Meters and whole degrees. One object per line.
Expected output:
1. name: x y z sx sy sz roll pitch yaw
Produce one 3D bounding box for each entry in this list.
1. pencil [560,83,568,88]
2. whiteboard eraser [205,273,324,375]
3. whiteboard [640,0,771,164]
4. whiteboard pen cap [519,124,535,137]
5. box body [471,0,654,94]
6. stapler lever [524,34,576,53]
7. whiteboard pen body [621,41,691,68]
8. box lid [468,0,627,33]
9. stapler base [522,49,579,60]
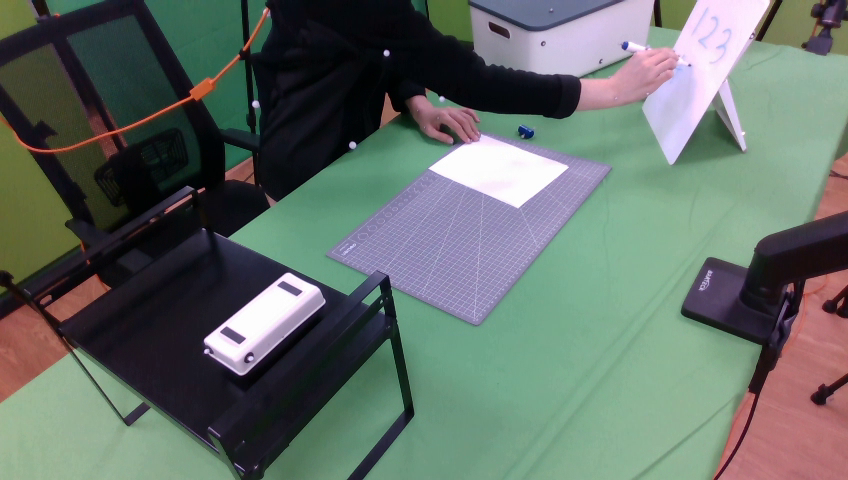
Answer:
1. pencil: 0.248 -0.394 1.398 0.193 0.012 0.012 33 53 23
2. whiteboard eraser: -0.157 0.084 0.605 0.055 0.042 0.113 24 49 30
3. whiteboard: 0.543 -0.299 1.076 0.144 0.305 0.216 12 40 -7
4. whiteboard pen cap: 0.206 -0.218 1.204 0.018 0.018 0.033 -27 45 -22
5. box body: 0.319 -0.498 1.405 0.365 0.161 0.252 -26 43 -21
6. stapler lever: 0.297 -0.462 1.424 0.117 0.040 0.027 5 24 17
7. whiteboard pen body: 0.410 -0.322 1.060 0.141 0.017 0.017 12 38 -15
8. box lid: 0.312 -0.554 1.358 0.373 0.015 0.261 -26 44 -20
9. stapler base: 0.300 -0.441 1.434 0.130 0.024 0.041 3 23 18
